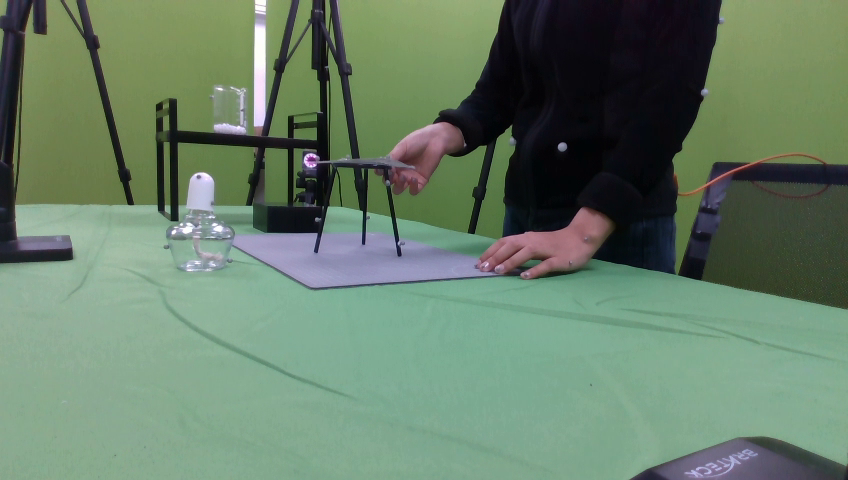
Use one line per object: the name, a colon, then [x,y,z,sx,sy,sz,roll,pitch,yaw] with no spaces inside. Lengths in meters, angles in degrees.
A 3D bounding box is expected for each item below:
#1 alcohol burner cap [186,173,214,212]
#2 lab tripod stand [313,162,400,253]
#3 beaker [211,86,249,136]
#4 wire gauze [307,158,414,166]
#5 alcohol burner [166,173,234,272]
alcohol burner cap: [-0.268,-0.057,0.730,0.034,0.048,0.034,5,2,0]
lab tripod stand: [-0.097,-0.051,0.906,0.148,0.131,0.148,0,6,0]
beaker: [-0.413,-0.274,1.297,0.074,0.100,0.083,-5,11,-44]
wire gauze: [-0.092,-0.117,0.894,0.121,0.011,0.125,4,6,19]
alcohol burner: [-0.271,-0.022,0.735,0.078,0.119,0.078,2,5,0]
